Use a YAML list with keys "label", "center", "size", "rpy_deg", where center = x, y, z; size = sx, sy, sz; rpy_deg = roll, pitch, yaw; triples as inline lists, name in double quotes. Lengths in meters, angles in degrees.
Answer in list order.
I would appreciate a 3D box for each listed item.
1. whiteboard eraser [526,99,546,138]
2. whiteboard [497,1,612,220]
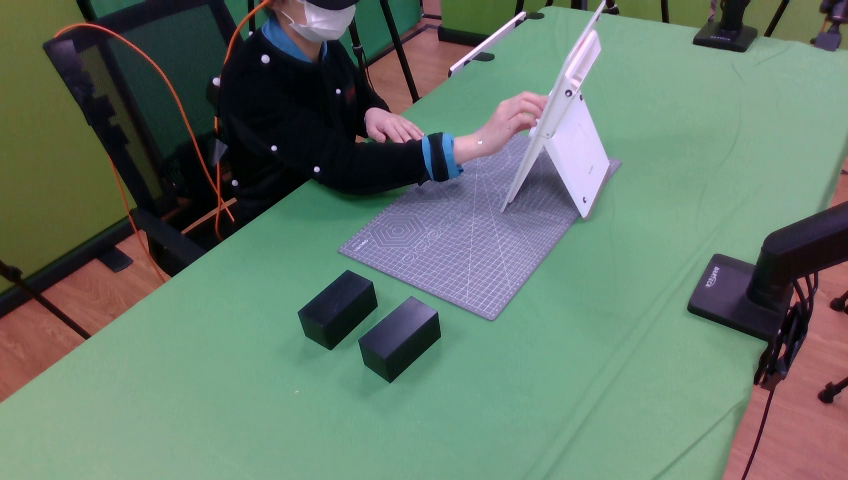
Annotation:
- label: "whiteboard eraser"
  center: [0.200, -0.211, 1.019]
  size: [0.019, 0.041, 0.101]
  rpy_deg: [29, 67, 12]
- label: "whiteboard"
  center: [0.259, -0.177, 0.963]
  size: [0.143, 0.306, 0.217]
  rpy_deg: [28, 48, 9]
